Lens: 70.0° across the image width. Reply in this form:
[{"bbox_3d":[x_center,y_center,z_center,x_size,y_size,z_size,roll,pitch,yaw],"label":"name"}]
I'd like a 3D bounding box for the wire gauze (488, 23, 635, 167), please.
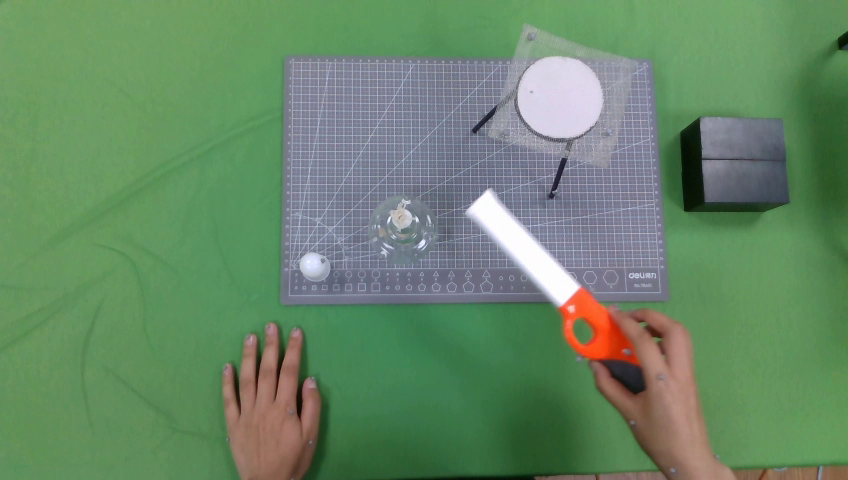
[{"bbox_3d":[0.138,-0.143,0.598,0.121,0.011,0.124,18,80,0],"label":"wire gauze"}]

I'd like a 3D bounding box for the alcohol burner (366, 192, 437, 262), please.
[{"bbox_3d":[-0.024,-0.016,0.649,0.078,0.119,0.077,0,83,-3],"label":"alcohol burner"}]

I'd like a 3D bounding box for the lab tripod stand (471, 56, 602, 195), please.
[{"bbox_3d":[0.132,-0.135,0.665,0.148,0.132,0.148,1,80,-3],"label":"lab tripod stand"}]

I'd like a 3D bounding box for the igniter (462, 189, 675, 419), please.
[{"bbox_3d":[0.141,0.062,0.576,0.057,0.025,0.277,-44,93,-7],"label":"igniter"}]

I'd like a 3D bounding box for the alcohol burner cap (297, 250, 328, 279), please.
[{"bbox_3d":[-0.125,0.026,0.673,0.034,0.048,0.033,1,81,-4],"label":"alcohol burner cap"}]
